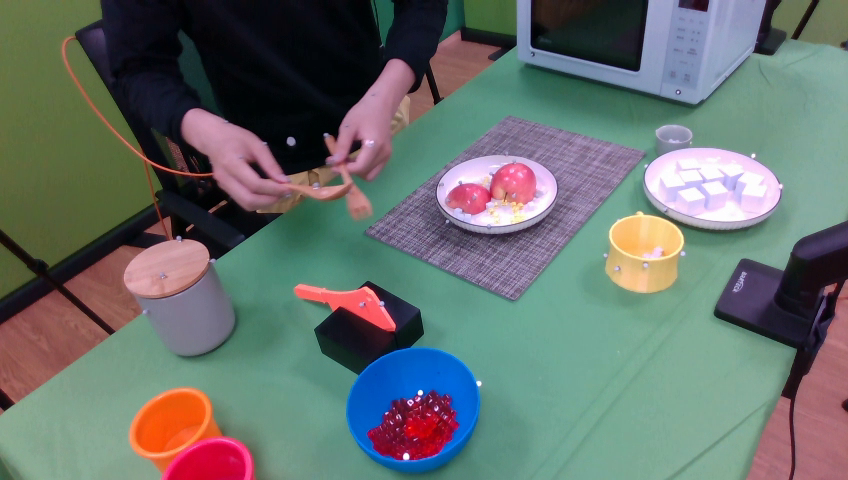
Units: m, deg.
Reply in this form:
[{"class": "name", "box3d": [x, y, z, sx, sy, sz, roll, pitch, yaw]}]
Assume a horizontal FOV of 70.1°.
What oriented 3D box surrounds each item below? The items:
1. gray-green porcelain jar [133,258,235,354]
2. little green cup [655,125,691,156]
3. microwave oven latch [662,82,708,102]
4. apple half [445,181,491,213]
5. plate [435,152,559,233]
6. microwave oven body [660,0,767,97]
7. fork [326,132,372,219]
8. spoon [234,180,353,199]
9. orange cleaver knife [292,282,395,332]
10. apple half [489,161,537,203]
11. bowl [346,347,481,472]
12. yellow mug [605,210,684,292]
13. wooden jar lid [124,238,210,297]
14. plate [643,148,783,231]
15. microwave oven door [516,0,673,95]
[{"class": "gray-green porcelain jar", "box3d": [-0.327, 0.086, 0.837, 0.106, 0.127, 0.105, -4, 41, 4]}, {"class": "little green cup", "box3d": [0.450, -0.177, 1.099, 0.061, 0.039, 0.061, -6, 41, 5]}, {"class": "microwave oven latch", "box3d": [0.518, -0.298, 1.203, 0.078, 0.029, 0.030, 28, 52, 35]}, {"class": "apple half", "box3d": [0.077, -0.083, 1.029, 0.081, 0.033, 0.081, -2, 41, 2]}, {"class": "plate", "box3d": [0.124, -0.078, 1.026, 0.209, 0.038, 0.208, -4, 40, 4]}, {"class": "microwave oven body", "box3d": [0.474, -0.517, 1.314, 0.438, 0.261, 0.327, 26, 52, 34]}, {"class": "fork", "box3d": [-0.108, -0.093, 0.827, 0.028, 0.019, 0.205, -27, 49, 0]}, {"class": "spoon", "box3d": [-0.171, -0.067, 0.770, 0.192, 0.022, 0.042, 5, 31, 28]}, {"class": "orange cleaver knife", "box3d": [-0.116, 0.091, 0.835, 0.209, 0.077, 0.012, 2, 32, 48]}, {"class": "apple half", "box3d": [0.154, -0.106, 1.030, 0.080, 0.053, 0.075, 22, 46, 31]}, {"class": "bowl", "box3d": [-0.008, 0.205, 0.691, 0.151, 0.077, 0.150, -4, 40, 4]}, {"class": "yellow mug", "box3d": [0.318, 0.007, 0.883, 0.100, 0.064, 0.130, 0, 41, 8]}, {"class": "wooden jar lid", "box3d": [-0.335, 0.038, 0.794, 0.108, 0.021, 0.108, -2, 40, 2]}, {"class": "plate", "box3d": [0.464, -0.080, 0.986, 0.207, 0.039, 0.206, -4, 41, 4]}, {"class": "microwave oven door", "box3d": [0.344, -0.458, 1.256, 0.353, 0.245, 0.039, 26, 51, 33]}]
